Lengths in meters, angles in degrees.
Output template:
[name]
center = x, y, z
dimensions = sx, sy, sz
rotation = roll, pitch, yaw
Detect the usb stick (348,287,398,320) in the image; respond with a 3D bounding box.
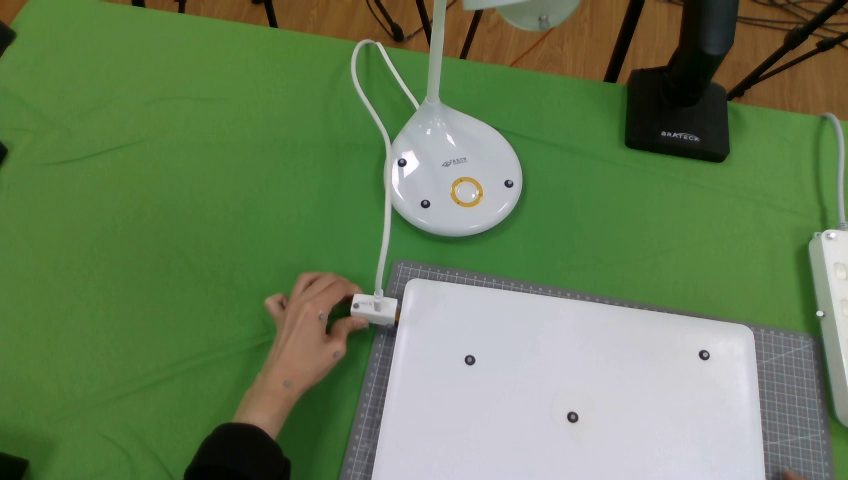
[usb stick]
center = -0.045, 0.064, 0.605
dimensions = 0.059, 0.027, 0.021
rotation = 9, 56, -3

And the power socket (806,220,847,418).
[power socket]
center = 0.445, 0.079, 0.620
dimensions = 0.072, 0.033, 0.225
rotation = 8, 63, 1

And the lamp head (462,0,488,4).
[lamp head]
center = 0.065, -0.212, 0.359
dimensions = 0.112, 0.111, 0.123
rotation = -18, 109, -10

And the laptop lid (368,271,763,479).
[laptop lid]
center = 0.136, 0.158, 0.566
dimensions = 0.356, 0.013, 0.240
rotation = 9, 66, 3

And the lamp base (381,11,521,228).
[lamp base]
center = 0.026, -0.129, 0.629
dimensions = 0.161, 0.181, 0.177
rotation = -26, 64, -14

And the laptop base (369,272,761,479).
[laptop base]
center = 0.137, 0.162, 0.578
dimensions = 0.354, 0.023, 0.234
rotation = 8, 67, 2
